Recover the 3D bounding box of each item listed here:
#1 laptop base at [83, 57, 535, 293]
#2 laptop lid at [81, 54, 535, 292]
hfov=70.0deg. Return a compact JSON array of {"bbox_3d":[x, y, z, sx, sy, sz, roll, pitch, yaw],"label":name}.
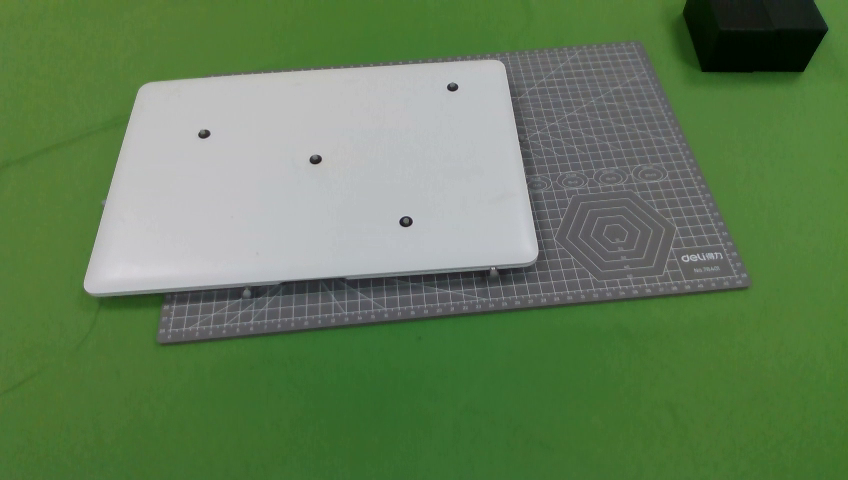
[{"bbox_3d":[-0.095,-0.065,0.532,0.354,0.023,0.233,-4,59,-1],"label":"laptop base"},{"bbox_3d":[-0.095,-0.070,0.521,0.357,0.013,0.239,-3,58,0],"label":"laptop lid"}]
